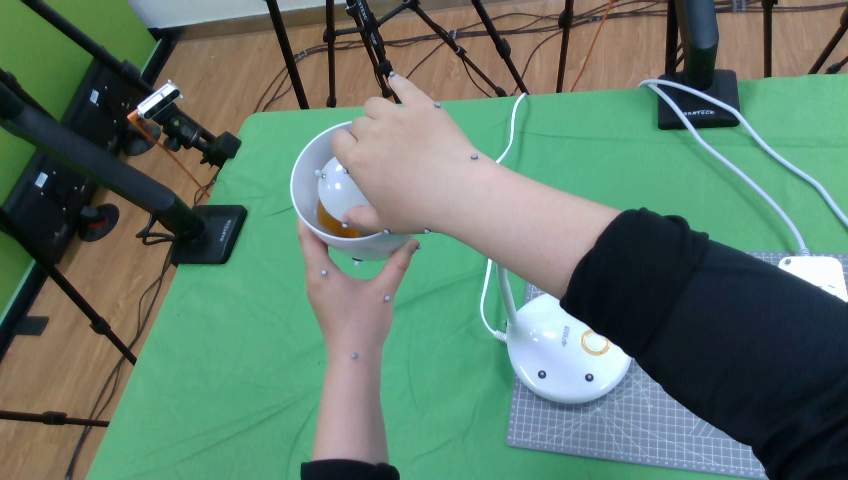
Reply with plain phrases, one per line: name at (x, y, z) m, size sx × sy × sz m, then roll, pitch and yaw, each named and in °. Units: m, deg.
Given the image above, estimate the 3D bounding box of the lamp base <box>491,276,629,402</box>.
lamp base at (0.155, 0.097, 0.746) m, size 0.178 × 0.182 × 0.159 m, roll -5°, pitch 56°, yaw 18°

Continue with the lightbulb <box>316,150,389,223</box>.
lightbulb at (-0.054, -0.039, 0.518) m, size 0.059 × 0.108 × 0.059 m, roll -2°, pitch 79°, yaw 9°

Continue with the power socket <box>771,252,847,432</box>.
power socket at (0.468, 0.112, 0.724) m, size 0.072 × 0.033 × 0.225 m, roll 0°, pitch 57°, yaw 17°

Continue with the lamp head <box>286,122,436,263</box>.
lamp head at (-0.048, -0.028, 0.544) m, size 0.112 × 0.124 × 0.111 m, roll -4°, pitch 67°, yaw 10°
